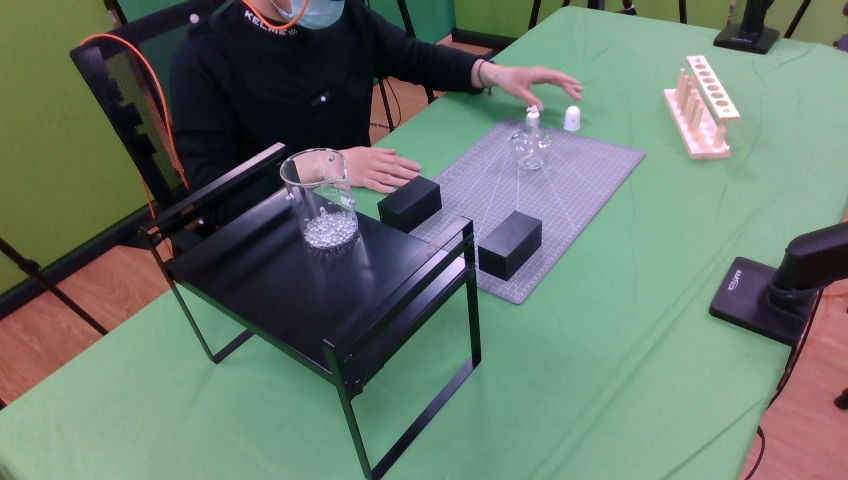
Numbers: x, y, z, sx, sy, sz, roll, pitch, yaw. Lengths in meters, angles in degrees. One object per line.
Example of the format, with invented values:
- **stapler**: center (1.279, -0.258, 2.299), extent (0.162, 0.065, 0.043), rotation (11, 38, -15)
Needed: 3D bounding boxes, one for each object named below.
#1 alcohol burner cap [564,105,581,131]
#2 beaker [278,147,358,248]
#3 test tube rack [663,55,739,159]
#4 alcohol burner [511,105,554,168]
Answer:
- **alcohol burner cap**: center (0.294, -0.243, 1.196), extent (0.034, 0.048, 0.033), rotation (-4, 39, 4)
- **beaker**: center (-0.117, -0.046, 0.705), extent (0.083, 0.101, 0.074), rotation (17, 47, 25)
- **test tube rack**: center (0.518, -0.256, 1.144), extent (0.066, 0.085, 0.241), rotation (-1, 41, 8)
- **alcohol burner**: center (0.196, -0.190, 1.088), extent (0.078, 0.119, 0.077), rotation (-3, 42, 3)
